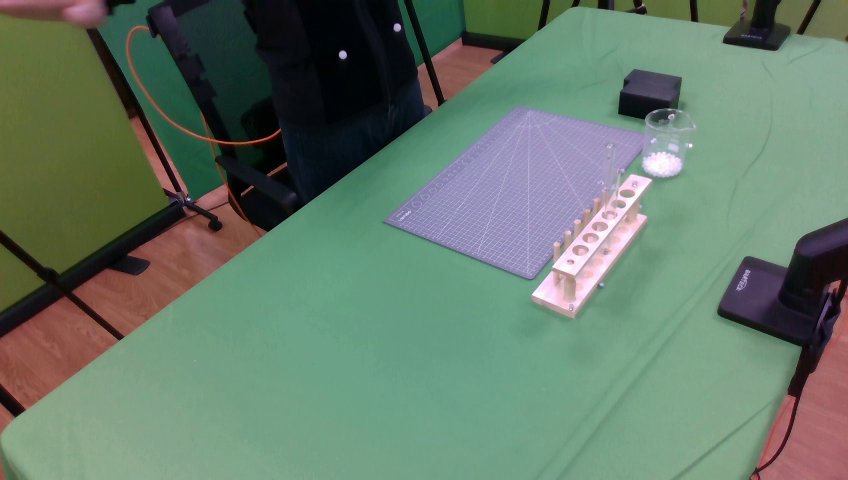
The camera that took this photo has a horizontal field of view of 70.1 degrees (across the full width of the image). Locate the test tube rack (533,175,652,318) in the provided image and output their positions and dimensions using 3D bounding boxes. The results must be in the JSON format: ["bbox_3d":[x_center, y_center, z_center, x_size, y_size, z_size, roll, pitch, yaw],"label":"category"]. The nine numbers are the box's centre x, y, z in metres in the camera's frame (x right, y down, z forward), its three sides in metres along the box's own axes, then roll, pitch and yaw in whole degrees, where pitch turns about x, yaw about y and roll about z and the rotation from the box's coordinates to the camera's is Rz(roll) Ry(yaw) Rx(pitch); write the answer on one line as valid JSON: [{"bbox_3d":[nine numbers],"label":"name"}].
[{"bbox_3d":[0.250,-0.001,0.889,0.066,0.085,0.243,22,49,33],"label":"test tube rack"}]

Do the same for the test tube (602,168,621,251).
[{"bbox_3d":[0.264,-0.039,0.854,0.017,0.151,0.017,-5,44,6],"label":"test tube"}]

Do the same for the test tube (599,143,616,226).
[{"bbox_3d":[0.273,-0.081,0.909,0.017,0.151,0.017,-4,42,4],"label":"test tube"}]

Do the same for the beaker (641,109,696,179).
[{"bbox_3d":[0.415,-0.161,1.035,0.083,0.101,0.074,19,48,29],"label":"beaker"}]
